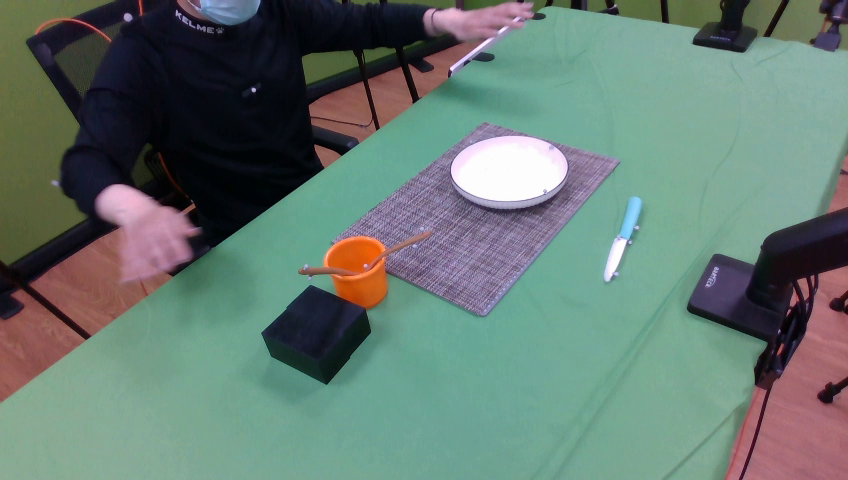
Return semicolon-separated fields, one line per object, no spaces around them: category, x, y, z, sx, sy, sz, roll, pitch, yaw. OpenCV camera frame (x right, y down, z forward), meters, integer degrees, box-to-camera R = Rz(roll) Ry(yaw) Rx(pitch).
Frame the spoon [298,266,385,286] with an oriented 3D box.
spoon;-0.112;0.047;0.826;0.041;0.195;0.021;-25;71;23

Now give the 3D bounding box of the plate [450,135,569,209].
plate;0.149;-0.117;1.066;0.209;0.038;0.208;-4;41;4

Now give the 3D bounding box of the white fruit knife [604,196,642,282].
white fruit knife;0.309;-0.004;0.938;0.027;0.016;0.207;-12;33;41

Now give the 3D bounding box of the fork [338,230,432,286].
fork;-0.058;0.028;0.846;0.206;0.018;0.028;-34;5;43
